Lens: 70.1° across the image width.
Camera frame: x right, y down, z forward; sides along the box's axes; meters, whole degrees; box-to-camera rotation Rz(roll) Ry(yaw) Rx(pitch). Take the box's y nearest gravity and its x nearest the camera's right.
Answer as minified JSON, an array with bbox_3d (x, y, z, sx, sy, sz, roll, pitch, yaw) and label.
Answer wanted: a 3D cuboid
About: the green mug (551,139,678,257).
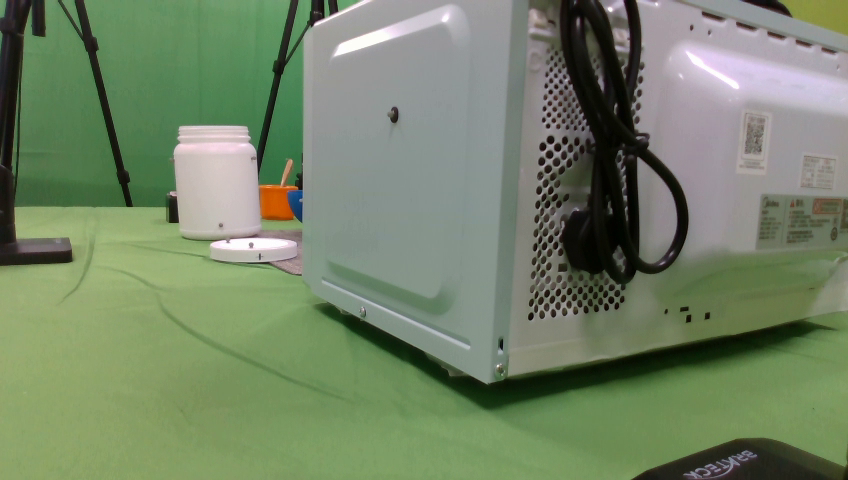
[{"bbox_3d":[0.178,-0.037,0.582,0.124,0.105,0.093,0,0,43],"label":"green mug"}]

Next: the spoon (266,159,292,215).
[{"bbox_3d":[-0.334,-0.127,1.423,0.041,0.193,0.022,0,-38,7],"label":"spoon"}]

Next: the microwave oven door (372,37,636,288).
[{"bbox_3d":[0.109,-0.080,0.686,0.358,0.243,0.039,-2,9,-33],"label":"microwave oven door"}]

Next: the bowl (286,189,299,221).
[{"bbox_3d":[-0.179,-0.051,1.115,0.151,0.077,0.151,3,8,0],"label":"bowl"}]

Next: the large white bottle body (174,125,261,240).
[{"bbox_3d":[-0.349,-0.100,1.025,0.131,0.184,0.130,-1,9,0],"label":"large white bottle body"}]

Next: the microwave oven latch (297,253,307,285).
[{"bbox_3d":[-0.082,0.027,0.582,0.079,0.029,0.030,-1,7,-33],"label":"microwave oven latch"}]

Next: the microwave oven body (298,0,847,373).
[{"bbox_3d":[0.151,-0.055,0.543,0.444,0.260,0.324,-1,7,-33],"label":"microwave oven body"}]

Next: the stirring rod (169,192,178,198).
[{"bbox_3d":[-0.465,-0.098,1.283,0.014,0.006,0.177,42,22,17],"label":"stirring rod"}]

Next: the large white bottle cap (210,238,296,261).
[{"bbox_3d":[-0.236,0.012,0.839,0.115,0.018,0.115,2,7,0],"label":"large white bottle cap"}]
